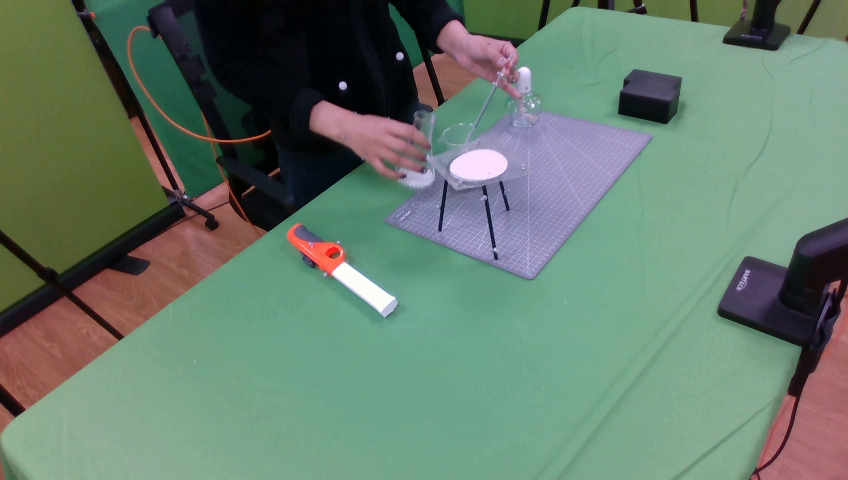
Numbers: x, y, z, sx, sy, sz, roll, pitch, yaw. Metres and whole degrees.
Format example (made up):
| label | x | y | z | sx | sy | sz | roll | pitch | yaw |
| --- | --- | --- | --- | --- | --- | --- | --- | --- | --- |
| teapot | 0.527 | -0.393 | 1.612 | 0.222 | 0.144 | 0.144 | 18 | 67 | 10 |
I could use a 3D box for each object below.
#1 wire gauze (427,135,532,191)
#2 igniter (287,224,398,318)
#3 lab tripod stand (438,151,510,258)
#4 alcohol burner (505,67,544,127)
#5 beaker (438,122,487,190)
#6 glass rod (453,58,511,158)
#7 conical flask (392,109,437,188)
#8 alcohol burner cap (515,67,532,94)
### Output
| label | x | y | z | sx | sy | sz | roll | pitch | yaw |
| --- | --- | --- | --- | --- | --- | --- | --- | --- | --- |
| wire gauze | 0.081 | -0.115 | 0.909 | 0.125 | 0.011 | 0.120 | -18 | 39 | -11 |
| igniter | -0.139 | 0.042 | 0.958 | 0.057 | 0.025 | 0.274 | -42 | 49 | -19 |
| lab tripod stand | 0.087 | -0.064 | 0.952 | 0.148 | 0.132 | 0.147 | -6 | 38 | 5 |
| alcohol burner | 0.201 | -0.288 | 1.211 | 0.078 | 0.119 | 0.077 | -6 | 38 | 5 |
| beaker | 0.072 | -0.147 | 1.080 | 0.084 | 0.101 | 0.073 | -5 | 40 | 7 |
| glass rod | 0.096 | -0.220 | 1.035 | 0.008 | 0.199 | 0.008 | 28 | 13 | -7 |
| conical flask | -0.008 | -0.154 | 1.004 | 0.075 | 0.122 | 0.075 | 9 | 33 | -5 |
| alcohol burner cap | 0.197 | -0.315 | 1.187 | 0.034 | 0.048 | 0.033 | -3 | 46 | 3 |
